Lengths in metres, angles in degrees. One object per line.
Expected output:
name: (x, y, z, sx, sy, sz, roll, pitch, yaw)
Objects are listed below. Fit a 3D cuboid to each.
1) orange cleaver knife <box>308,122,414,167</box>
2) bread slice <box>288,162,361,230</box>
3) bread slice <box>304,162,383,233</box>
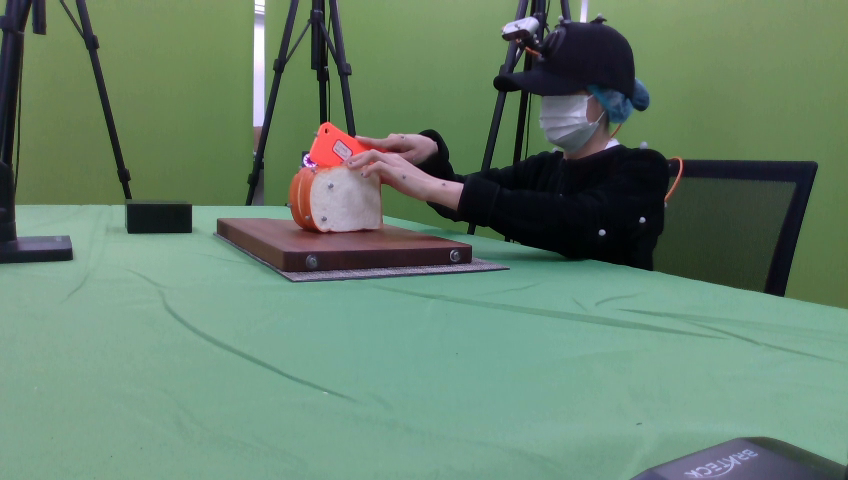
orange cleaver knife: (-0.099, -0.133, 0.996, 0.212, 0.077, 0.012, 11, -5, -44)
bread slice: (-0.154, -0.069, 0.960, 0.132, 0.105, 0.019, -10, 12, -38)
bread slice: (-0.121, -0.060, 0.923, 0.135, 0.107, 0.018, -12, 11, -40)
